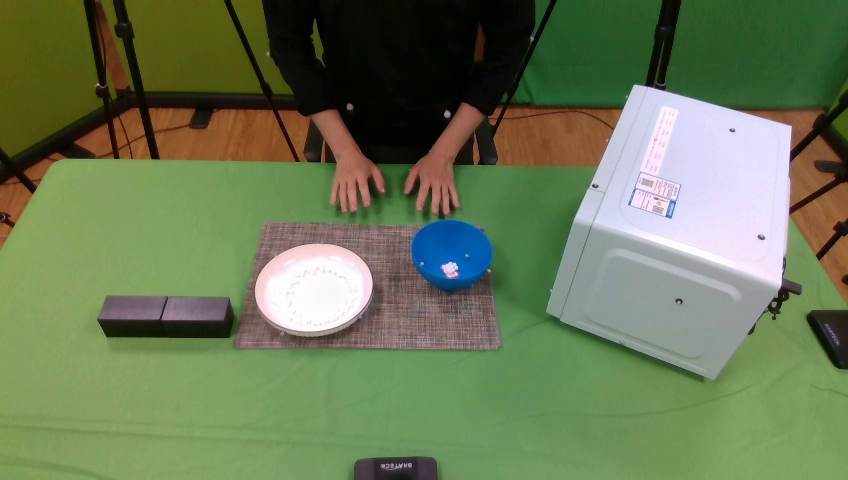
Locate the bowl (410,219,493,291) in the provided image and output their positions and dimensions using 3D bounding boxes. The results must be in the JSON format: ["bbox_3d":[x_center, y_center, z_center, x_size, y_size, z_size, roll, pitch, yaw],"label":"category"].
[{"bbox_3d":[0.048,0.041,1.117,0.151,0.077,0.150,2,46,-2],"label":"bowl"}]

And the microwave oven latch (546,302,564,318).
[{"bbox_3d":[0.242,0.102,1.081,0.030,0.029,0.079,21,48,17],"label":"microwave oven latch"}]

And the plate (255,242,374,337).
[{"bbox_3d":[-0.192,0.090,1.079,0.208,0.039,0.206,2,46,-2],"label":"plate"}]

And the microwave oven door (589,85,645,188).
[{"bbox_3d":[0.342,-0.107,1.149,0.039,0.245,0.354,20,48,15],"label":"microwave oven door"}]

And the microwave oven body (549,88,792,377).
[{"bbox_3d":[0.456,-0.028,1.088,0.325,0.261,0.440,20,47,16],"label":"microwave oven body"}]
